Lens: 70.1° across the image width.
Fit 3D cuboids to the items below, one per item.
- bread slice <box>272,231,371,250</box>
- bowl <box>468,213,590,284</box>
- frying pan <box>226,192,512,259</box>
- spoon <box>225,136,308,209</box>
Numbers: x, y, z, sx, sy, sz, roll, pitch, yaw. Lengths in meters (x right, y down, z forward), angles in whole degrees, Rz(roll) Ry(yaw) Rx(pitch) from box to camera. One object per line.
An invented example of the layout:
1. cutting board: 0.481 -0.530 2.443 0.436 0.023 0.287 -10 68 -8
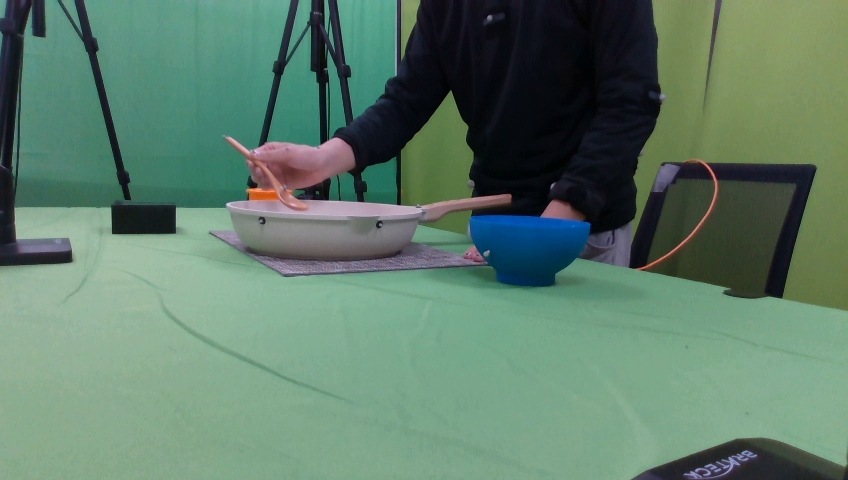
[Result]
1. bread slice: -0.148 0.001 0.929 0.133 0.018 0.107 5 7 38
2. bowl: 0.128 0.011 0.755 0.151 0.077 0.151 2 7 0
3. frying pan: -0.058 -0.041 0.974 0.490 0.102 0.305 -11 13 -26
4. spoon: -0.251 -0.107 0.950 0.193 0.021 0.042 45 23 18
